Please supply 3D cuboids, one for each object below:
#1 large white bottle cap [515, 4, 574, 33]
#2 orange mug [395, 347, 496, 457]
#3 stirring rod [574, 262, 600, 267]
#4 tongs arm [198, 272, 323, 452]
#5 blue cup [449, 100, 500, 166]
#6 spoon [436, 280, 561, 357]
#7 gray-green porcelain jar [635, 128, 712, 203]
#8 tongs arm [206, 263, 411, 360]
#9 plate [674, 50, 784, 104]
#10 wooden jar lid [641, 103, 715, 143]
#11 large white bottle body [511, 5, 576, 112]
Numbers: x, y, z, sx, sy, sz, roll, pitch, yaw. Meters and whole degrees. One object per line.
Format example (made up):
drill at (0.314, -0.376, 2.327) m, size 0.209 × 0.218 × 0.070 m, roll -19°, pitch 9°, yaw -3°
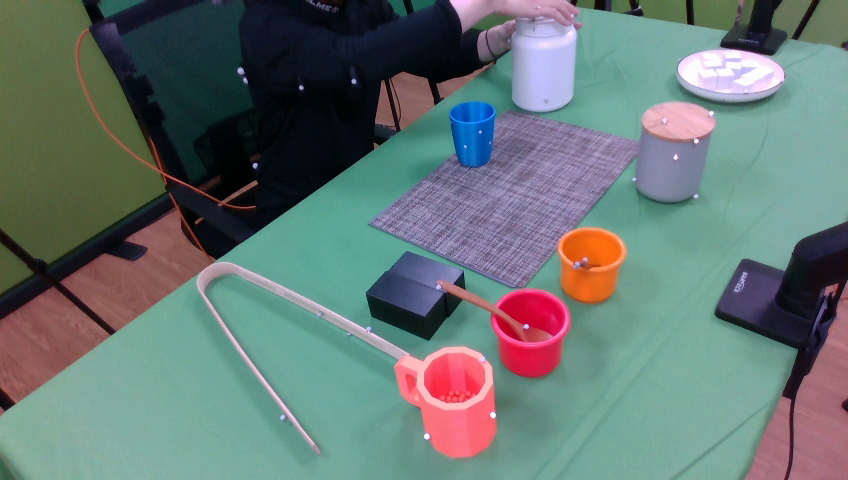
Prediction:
large white bottle cap at (0.238, -0.439, 1.197) m, size 0.115 × 0.018 × 0.114 m, roll -3°, pitch 39°, yaw 3°
orange mug at (0.024, 0.180, 0.703) m, size 0.125 × 0.101 × 0.083 m, roll 21°, pitch 48°, yaw 23°
stirring rod at (0.222, 0.033, 0.816) m, size 0.014 × 0.006 × 0.177 m, roll 7°, pitch 1°, yaw 22°
tongs arm at (-0.236, 0.153, 0.829) m, size 0.028 × 0.028 × 0.384 m, roll -36°, pitch 47°, yaw -19°
blue cup at (0.092, -0.194, 1.123) m, size 0.092 × 0.100 × 0.092 m, roll -3°, pitch 40°, yaw 3°
spoon at (0.096, 0.095, 0.757) m, size 0.195 × 0.021 × 0.041 m, roll 34°, pitch 40°, yaw -20°
gray-green porcelain jar at (0.405, -0.133, 0.992) m, size 0.106 × 0.127 × 0.105 m, roll -4°, pitch 40°, yaw 4°
tongs arm at (-0.179, 0.106, 0.870) m, size 0.381 × 0.026 × 0.051 m, roll 23°, pitch 53°, yaw 32°
plate at (0.631, -0.336, 1.262) m, size 0.207 × 0.039 × 0.206 m, roll -4°, pitch 41°, yaw 4°
wooden jar lid at (0.398, -0.180, 0.952) m, size 0.108 × 0.021 × 0.108 m, roll -4°, pitch 43°, yaw 4°
large white bottle body at (0.247, -0.375, 1.252) m, size 0.130 × 0.185 × 0.130 m, roll -4°, pitch 41°, yaw 4°
